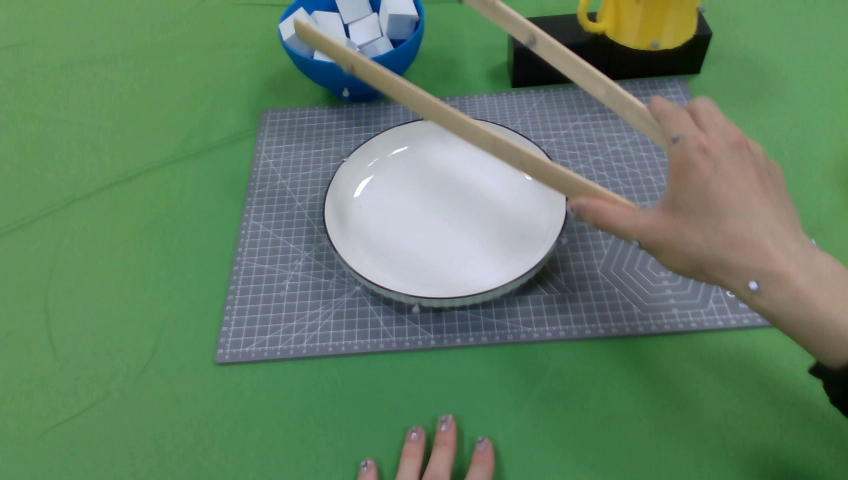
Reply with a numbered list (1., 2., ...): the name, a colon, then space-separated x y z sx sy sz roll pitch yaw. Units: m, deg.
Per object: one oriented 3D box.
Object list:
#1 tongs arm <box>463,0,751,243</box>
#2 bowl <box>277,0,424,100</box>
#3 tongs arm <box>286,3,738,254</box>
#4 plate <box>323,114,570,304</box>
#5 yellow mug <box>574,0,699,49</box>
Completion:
1. tongs arm: 0.087 -0.137 0.468 0.051 0.027 0.381 -39 66 -18
2. bowl: -0.072 -0.203 0.644 0.151 0.077 0.150 -2 52 3
3. tongs arm: 0.038 -0.092 0.448 0.385 0.028 0.028 33 64 20
4. plate: 0.019 -0.029 0.526 0.207 0.039 0.205 -2 53 3
5. yellow mug: 0.210 -0.241 0.597 0.131 0.064 0.099 -17 53 -7
